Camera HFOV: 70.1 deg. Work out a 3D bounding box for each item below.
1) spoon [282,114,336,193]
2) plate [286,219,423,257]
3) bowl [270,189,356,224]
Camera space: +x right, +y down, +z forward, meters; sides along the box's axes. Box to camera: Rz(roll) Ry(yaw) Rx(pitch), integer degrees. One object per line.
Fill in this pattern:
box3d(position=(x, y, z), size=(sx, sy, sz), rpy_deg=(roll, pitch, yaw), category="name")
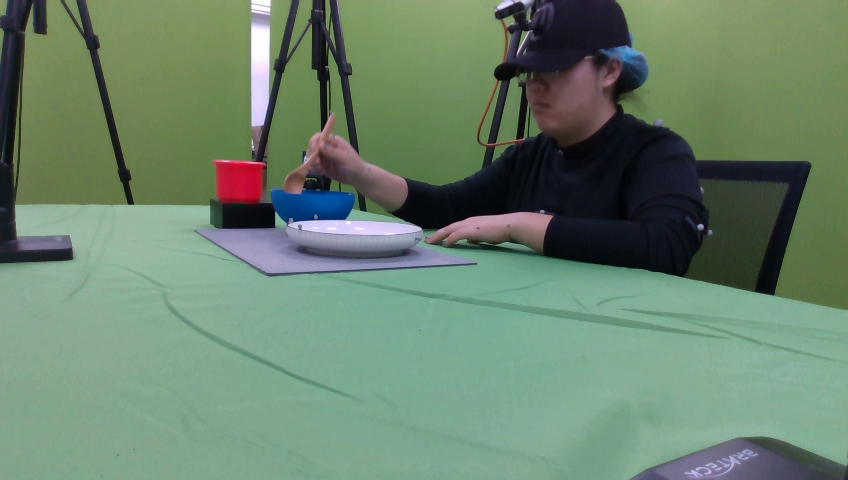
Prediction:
box3d(position=(-0.200, -0.149, 1.077), size=(0.021, 0.194, 0.042), rpy_deg=(8, -29, 41), category="spoon")
box3d(position=(-0.105, -0.004, 0.922), size=(0.208, 0.039, 0.207), rpy_deg=(3, 8, 0), category="plate")
box3d(position=(-0.198, -0.049, 1.080), size=(0.151, 0.077, 0.151), rpy_deg=(2, 7, 0), category="bowl")
